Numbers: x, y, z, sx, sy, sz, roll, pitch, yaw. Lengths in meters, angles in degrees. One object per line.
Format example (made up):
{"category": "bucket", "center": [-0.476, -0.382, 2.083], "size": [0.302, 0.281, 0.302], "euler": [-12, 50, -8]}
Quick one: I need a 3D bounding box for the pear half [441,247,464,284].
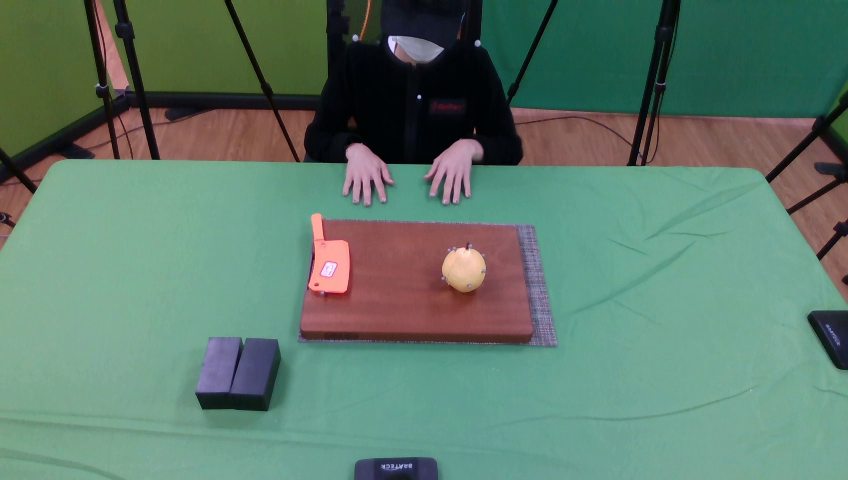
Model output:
{"category": "pear half", "center": [0.050, 0.039, 1.079], "size": [0.031, 0.088, 0.070], "euler": [24, 54, 17]}

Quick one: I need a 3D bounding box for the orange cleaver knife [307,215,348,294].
{"category": "orange cleaver knife", "center": [-0.180, 0.023, 1.126], "size": [0.077, 0.012, 0.210], "euler": [-6, 44, -6]}

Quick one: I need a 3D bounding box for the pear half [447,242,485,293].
{"category": "pear half", "center": [0.080, 0.047, 1.059], "size": [0.056, 0.110, 0.076], "euler": [24, 54, 19]}
